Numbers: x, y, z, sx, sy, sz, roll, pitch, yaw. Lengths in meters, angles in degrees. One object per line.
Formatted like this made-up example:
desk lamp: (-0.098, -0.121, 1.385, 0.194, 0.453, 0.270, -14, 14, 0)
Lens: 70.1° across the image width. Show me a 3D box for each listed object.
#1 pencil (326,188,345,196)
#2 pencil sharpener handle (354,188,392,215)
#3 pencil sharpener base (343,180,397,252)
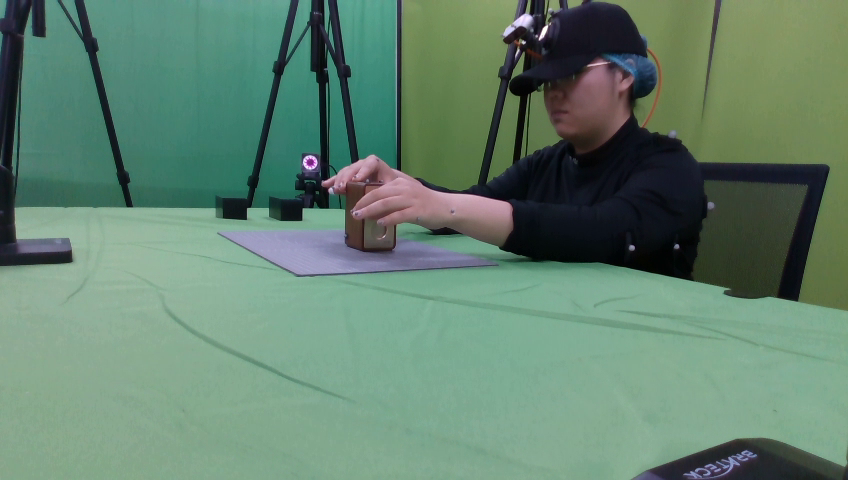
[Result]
pencil: (-0.125, -0.077, 1.023, 0.012, 0.012, 0.193, -2, 9, -31)
pencil sharpener handle: (-0.070, -0.053, 0.904, 0.068, 0.036, 0.030, -25, 20, -26)
pencil sharpener base: (-0.085, -0.038, 0.957, 0.062, 0.107, 0.076, -1, 9, -32)
